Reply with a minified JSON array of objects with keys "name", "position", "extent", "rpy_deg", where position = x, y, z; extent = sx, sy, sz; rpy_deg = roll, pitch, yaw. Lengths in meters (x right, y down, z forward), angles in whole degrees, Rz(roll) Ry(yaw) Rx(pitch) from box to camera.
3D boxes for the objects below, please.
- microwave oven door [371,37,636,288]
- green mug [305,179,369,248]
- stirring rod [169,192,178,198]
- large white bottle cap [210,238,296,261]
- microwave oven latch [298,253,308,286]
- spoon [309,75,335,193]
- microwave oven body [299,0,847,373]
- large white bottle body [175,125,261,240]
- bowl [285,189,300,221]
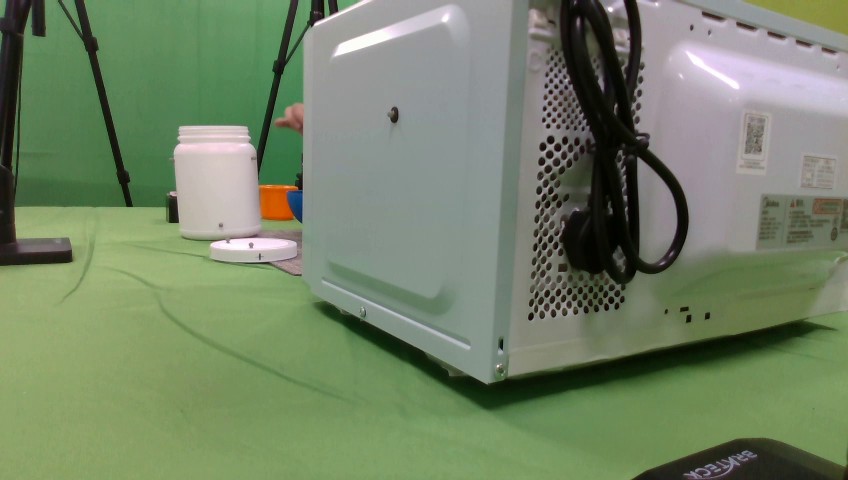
[{"name":"microwave oven door","position":[0.109,-0.080,0.686],"extent":[0.358,0.243,0.039],"rpy_deg":[-2,9,-33]},{"name":"green mug","position":[-0.133,-0.045,0.976],"extent":[0.092,0.105,0.126],"rpy_deg":[6,8,32]},{"name":"stirring rod","position":[-0.465,-0.098,1.283],"extent":[0.014,0.006,0.177],"rpy_deg":[42,21,17]},{"name":"large white bottle cap","position":[-0.236,0.012,0.839],"extent":[0.115,0.018,0.115],"rpy_deg":[1,8,0]},{"name":"microwave oven latch","position":[-0.081,0.027,0.582],"extent":[0.079,0.029,0.030],"rpy_deg":[-2,7,-32]},{"name":"spoon","position":[-0.162,-0.168,0.960],"extent":[0.021,0.193,0.041],"rpy_deg":[-7,-5,5]},{"name":"microwave oven body","position":[0.152,-0.055,0.542],"extent":[0.444,0.260,0.324],"rpy_deg":[-2,7,-33]},{"name":"large white bottle body","position":[-0.349,-0.099,1.025],"extent":[0.131,0.184,0.130],"rpy_deg":[-1,9,0]},{"name":"bowl","position":[-0.180,-0.050,1.113],"extent":[0.151,0.077,0.151],"rpy_deg":[3,8,0]}]
